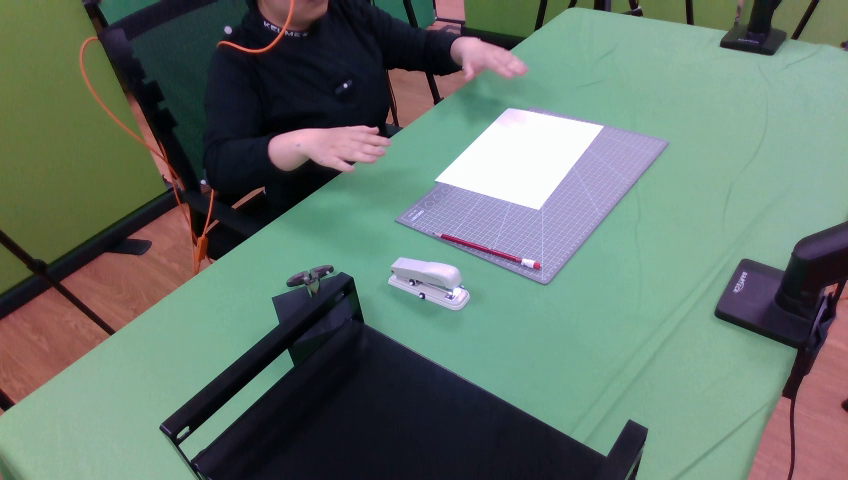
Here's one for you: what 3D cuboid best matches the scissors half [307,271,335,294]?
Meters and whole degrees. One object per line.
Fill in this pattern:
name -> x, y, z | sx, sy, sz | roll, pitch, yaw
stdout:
scissors half -> -0.152, 0.061, 0.872 | 0.040, 0.013, 0.175 | -3, 6, -4

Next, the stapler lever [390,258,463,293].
stapler lever -> 0.002, 0.046, 0.881 | 0.117, 0.040, 0.027 | 17, 44, 29

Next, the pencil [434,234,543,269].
pencil -> 0.096, 0.015, 0.949 | 0.192, 0.012, 0.012 | 18, 46, 29

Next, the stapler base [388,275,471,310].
stapler base -> 0.007, 0.066, 0.897 | 0.129, 0.024, 0.041 | 17, 44, 29

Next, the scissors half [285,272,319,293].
scissors half -> -0.171, 0.063, 0.868 | 0.040, 0.013, 0.174 | -11, 7, -21
